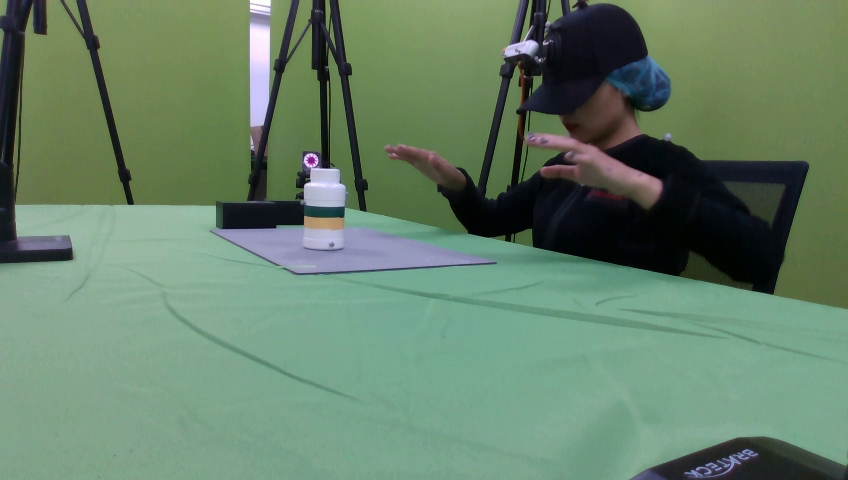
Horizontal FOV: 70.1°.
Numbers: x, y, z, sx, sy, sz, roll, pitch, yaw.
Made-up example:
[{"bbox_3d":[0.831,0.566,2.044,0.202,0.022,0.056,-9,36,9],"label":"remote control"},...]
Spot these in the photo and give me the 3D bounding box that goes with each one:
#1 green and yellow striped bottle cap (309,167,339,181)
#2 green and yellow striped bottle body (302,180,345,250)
[{"bbox_3d":[-0.150,-0.099,0.912,0.045,0.020,0.045,4,8,0],"label":"green and yellow striped bottle cap"},{"bbox_3d":[-0.152,-0.047,0.918,0.063,0.119,0.063,3,8,0],"label":"green and yellow striped bottle body"}]
